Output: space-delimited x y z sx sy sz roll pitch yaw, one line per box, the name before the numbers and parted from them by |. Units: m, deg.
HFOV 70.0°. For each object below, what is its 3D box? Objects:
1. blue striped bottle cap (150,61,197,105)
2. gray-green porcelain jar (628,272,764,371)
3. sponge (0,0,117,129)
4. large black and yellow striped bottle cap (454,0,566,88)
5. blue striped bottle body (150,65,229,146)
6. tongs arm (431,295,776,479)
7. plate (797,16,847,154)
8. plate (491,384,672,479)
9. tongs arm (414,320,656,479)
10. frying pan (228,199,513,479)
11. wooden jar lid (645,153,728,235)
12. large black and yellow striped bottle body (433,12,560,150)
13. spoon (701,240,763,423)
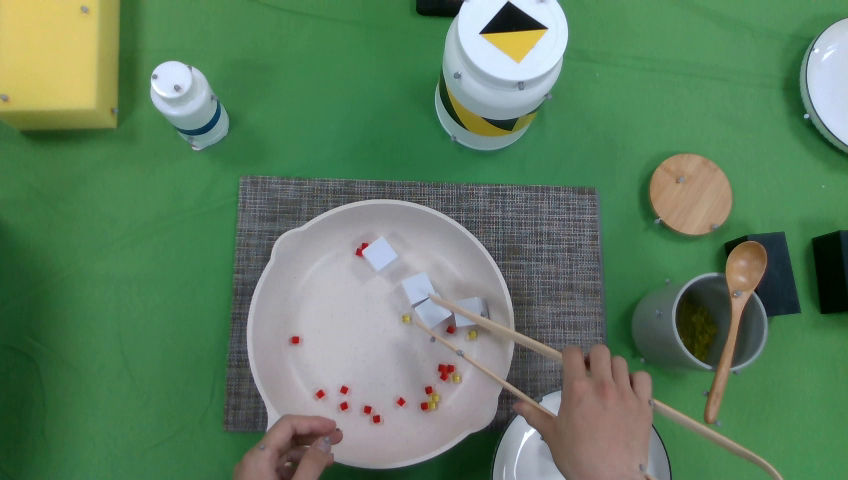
blue striped bottle cap | -0.268 -0.169 0.649 0.044 0.020 0.044 1 81 -4
gray-green porcelain jar | 0.303 0.097 0.696 0.106 0.127 0.105 1 79 -4
sponge | -0.443 -0.242 0.731 0.118 0.061 0.206 -4 80 -6
large black and yellow striped bottle cap | 0.089 -0.213 0.622 0.115 0.019 0.114 1 81 -4
blue striped bottle body | -0.271 -0.158 0.699 0.063 0.121 0.063 1 78 -4
tongs arm | 0.153 0.139 0.589 0.384 0.028 0.028 26 69 34
plate | 0.602 -0.204 0.822 0.209 0.038 0.208 1 79 -4
plate | 0.177 0.270 0.697 0.208 0.039 0.207 1 81 -5
tongs arm | 0.139 0.158 0.583 0.381 0.027 0.050 31 75 35
frying pan | -0.115 0.173 0.655 0.306 0.103 0.487 42 71 5
wooden jar lid | 0.337 -0.058 0.783 0.108 0.021 0.108 1 81 -4
large black and yellow striped bottle body | 0.081 -0.195 0.704 0.131 0.184 0.130 1 78 -4
spoon | 0.313 0.094 0.626 0.042 0.021 0.193 17 82 -4
